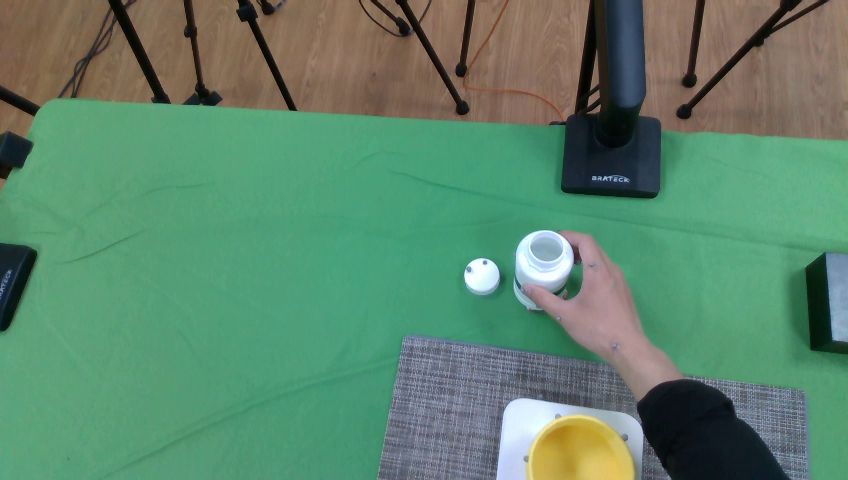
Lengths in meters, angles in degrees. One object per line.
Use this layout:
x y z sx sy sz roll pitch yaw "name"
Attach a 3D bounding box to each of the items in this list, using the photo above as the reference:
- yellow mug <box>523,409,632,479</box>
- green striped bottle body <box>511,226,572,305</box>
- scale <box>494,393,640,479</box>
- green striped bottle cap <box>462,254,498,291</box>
0.137 0.232 0.600 0.131 0.064 0.099 -41 70 -8 "yellow mug"
0.132 0.027 0.686 0.063 0.120 0.062 -2 66 5 "green striped bottle body"
0.147 0.268 0.636 0.148 0.032 0.199 6 70 10 "scale"
0.069 0.040 0.749 0.044 0.020 0.044 -2 75 8 "green striped bottle cap"
